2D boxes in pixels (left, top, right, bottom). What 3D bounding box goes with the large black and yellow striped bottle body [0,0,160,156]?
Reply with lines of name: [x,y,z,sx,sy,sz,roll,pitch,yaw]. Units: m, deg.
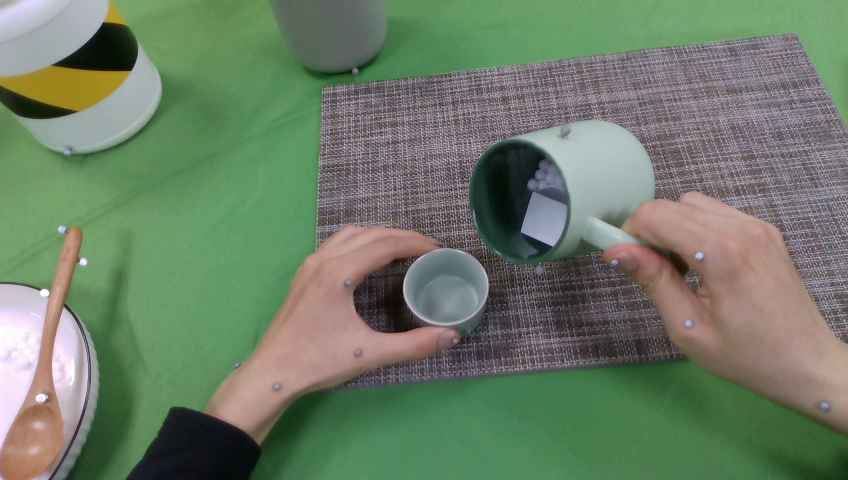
large black and yellow striped bottle body: [-0.333,-0.177,0.525,0.131,0.185,0.129,-3,59,5]

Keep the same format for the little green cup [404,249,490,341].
little green cup: [0.016,0.042,0.439,0.061,0.039,0.061,0,55,1]

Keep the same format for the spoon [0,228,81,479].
spoon: [-0.271,0.076,0.439,0.041,0.022,0.192,-4,68,3]

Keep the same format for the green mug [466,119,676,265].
green mug: [0.103,-0.025,0.399,0.105,0.093,0.124,-16,38,-43]

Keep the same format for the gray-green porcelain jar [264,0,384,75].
gray-green porcelain jar: [-0.095,-0.229,0.565,0.106,0.127,0.105,-3,59,5]

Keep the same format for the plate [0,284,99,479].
plate: [-0.330,0.131,0.431,0.209,0.038,0.207,-3,59,5]
